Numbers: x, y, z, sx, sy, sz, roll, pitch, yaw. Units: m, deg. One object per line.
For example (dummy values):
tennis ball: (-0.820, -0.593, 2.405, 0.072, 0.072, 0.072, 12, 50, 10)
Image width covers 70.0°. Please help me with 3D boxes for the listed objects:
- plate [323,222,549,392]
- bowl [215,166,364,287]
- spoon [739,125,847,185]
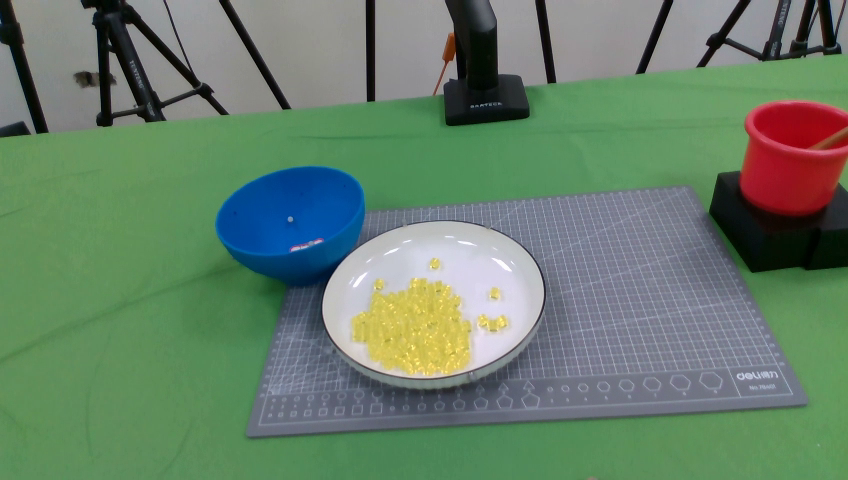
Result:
plate: (0.012, 0.060, 0.568, 0.207, 0.039, 0.205, -5, 40, 4)
bowl: (-0.131, -0.004, 0.635, 0.151, 0.077, 0.150, -4, 40, 4)
spoon: (0.375, -0.093, 0.533, 0.193, 0.022, 0.041, -33, 12, 46)
